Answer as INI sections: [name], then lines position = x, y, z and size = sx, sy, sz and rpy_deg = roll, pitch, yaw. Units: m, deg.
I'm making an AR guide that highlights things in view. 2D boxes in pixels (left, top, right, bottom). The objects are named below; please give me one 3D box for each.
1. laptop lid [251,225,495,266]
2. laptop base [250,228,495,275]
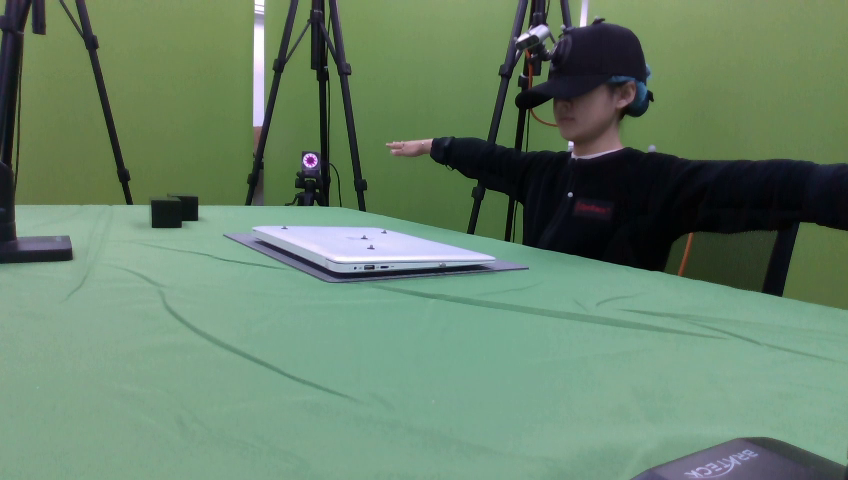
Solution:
[laptop lid]
position = -0.090, 0.004, 0.883
size = 0.243, 0.013, 0.355
rpy_deg = 1, 7, -31
[laptop base]
position = -0.093, 0.015, 0.884
size = 0.237, 0.023, 0.352
rpy_deg = 3, 6, -32
